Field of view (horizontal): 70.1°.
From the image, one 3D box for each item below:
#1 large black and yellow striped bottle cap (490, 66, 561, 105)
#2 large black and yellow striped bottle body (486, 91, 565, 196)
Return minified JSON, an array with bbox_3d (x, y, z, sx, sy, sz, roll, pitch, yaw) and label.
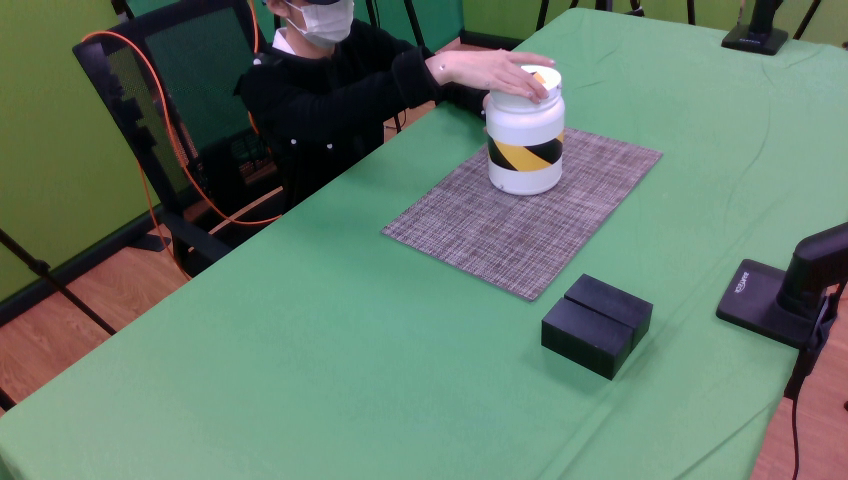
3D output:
[{"bbox_3d":[0.163,-0.251,0.977,0.115,0.019,0.114,-4,38,4],"label":"large black and yellow striped bottle cap"},{"bbox_3d":[0.173,-0.183,1.033,0.131,0.185,0.130,-5,40,4],"label":"large black and yellow striped bottle body"}]
